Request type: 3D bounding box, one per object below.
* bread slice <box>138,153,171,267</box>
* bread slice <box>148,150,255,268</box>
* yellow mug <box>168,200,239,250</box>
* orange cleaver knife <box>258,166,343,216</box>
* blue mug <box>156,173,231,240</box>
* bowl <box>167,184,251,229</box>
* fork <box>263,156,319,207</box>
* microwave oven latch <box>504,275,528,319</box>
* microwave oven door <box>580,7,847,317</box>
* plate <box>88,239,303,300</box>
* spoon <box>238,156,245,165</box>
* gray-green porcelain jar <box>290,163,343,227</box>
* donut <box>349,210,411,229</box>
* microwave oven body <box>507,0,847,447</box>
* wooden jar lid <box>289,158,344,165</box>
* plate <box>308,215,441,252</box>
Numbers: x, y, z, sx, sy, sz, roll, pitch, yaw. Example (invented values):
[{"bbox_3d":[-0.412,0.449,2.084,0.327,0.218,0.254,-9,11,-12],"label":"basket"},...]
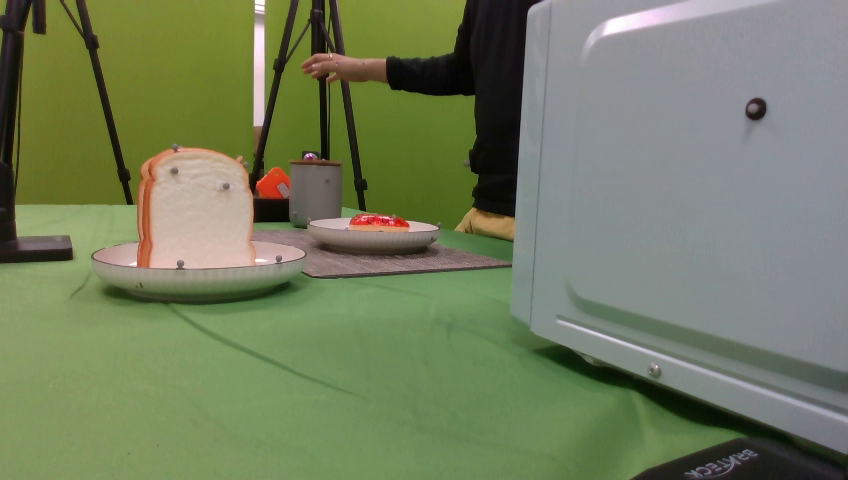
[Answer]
[{"bbox_3d":[-0.256,-0.029,0.660,0.105,0.131,0.019,-1,0,-36],"label":"bread slice"},{"bbox_3d":[-0.230,-0.024,0.618,0.107,0.134,0.018,-8,10,-34],"label":"bread slice"},{"bbox_3d":[-0.320,-0.023,0.904,0.130,0.064,0.100,9,10,36],"label":"yellow mug"},{"bbox_3d":[-0.276,-0.090,1.369,0.212,0.077,0.012,33,-11,-34],"label":"orange cleaver knife"},{"bbox_3d":[-0.381,-0.057,1.004,0.117,0.106,0.082,0,8,-12],"label":"blue mug"},{"bbox_3d":[-0.408,-0.064,1.155,0.151,0.077,0.151,2,8,0],"label":"bowl"},{"bbox_3d":[-0.331,-0.144,1.506,0.207,0.018,0.028,-42,-20,22],"label":"fork"},{"bbox_3d":[0.100,0.042,0.471,0.079,0.029,0.030,-1,7,-28],"label":"microwave oven latch"},{"bbox_3d":[0.294,-0.067,0.570,0.358,0.243,0.039,-3,9,-31],"label":"microwave oven door"},{"bbox_3d":[-0.233,0.029,0.636,0.208,0.039,0.207,2,7,0],"label":"plate"},{"bbox_3d":[-0.477,-0.145,1.492,0.041,0.022,0.193,0,51,13],"label":"spoon"},{"bbox_3d":[-0.217,-0.091,1.221,0.106,0.126,0.106,2,7,0],"label":"gray-green porcelain jar"},{"bbox_3d":[-0.069,-0.023,0.961,0.099,0.048,0.099,3,5,0],"label":"donut"},{"bbox_3d":[0.331,-0.042,0.425,0.444,0.260,0.324,-2,8,-31],"label":"microwave oven body"},{"bbox_3d":[-0.215,-0.153,1.212,0.108,0.020,0.108,2,5,0],"label":"wooden jar lid"},{"bbox_3d":[-0.078,-0.011,0.954,0.209,0.038,0.209,2,8,0],"label":"plate"}]
